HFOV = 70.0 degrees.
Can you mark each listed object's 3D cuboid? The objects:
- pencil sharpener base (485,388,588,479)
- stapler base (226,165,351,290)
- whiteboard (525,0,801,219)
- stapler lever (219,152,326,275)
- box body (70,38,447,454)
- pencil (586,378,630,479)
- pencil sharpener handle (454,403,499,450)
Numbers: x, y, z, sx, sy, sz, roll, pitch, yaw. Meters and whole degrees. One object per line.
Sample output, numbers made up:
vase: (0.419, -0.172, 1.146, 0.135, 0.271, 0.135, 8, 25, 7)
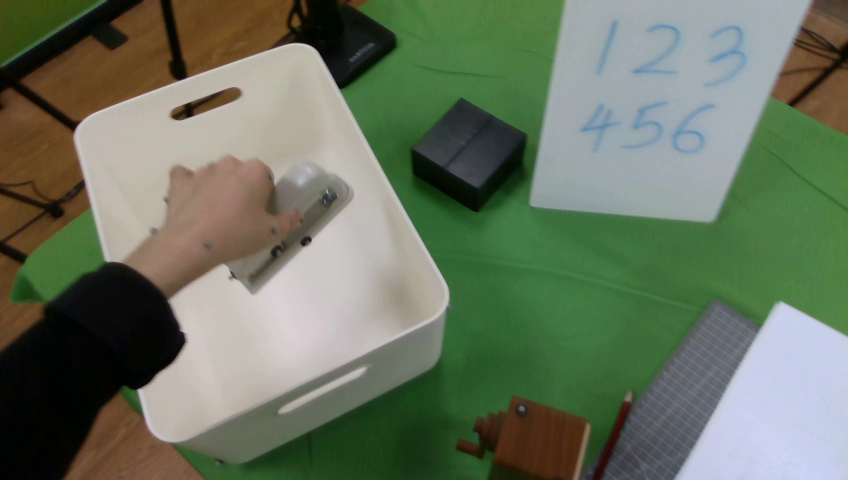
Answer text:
pencil sharpener base: (0.095, 0.184, 0.545, 0.076, 0.108, 0.061, 16, 63, 11)
stapler base: (-0.122, -0.017, 0.533, 0.041, 0.024, 0.130, 41, 85, 25)
whiteboard: (0.240, -0.193, 0.669, 0.217, 0.308, 0.142, 6, 42, 6)
stapler lever: (-0.129, -0.024, 0.509, 0.026, 0.040, 0.118, 41, 85, 25)
box body: (-0.162, 0.001, 0.621, 0.254, 0.161, 0.360, -25, 64, -11)
pencil: (0.163, 0.216, 0.577, 0.012, 0.012, 0.193, 24, 66, 15)
pencil sharpener handle: (0.045, 0.167, 0.541, 0.030, 0.068, 0.036, 17, 47, 11)
